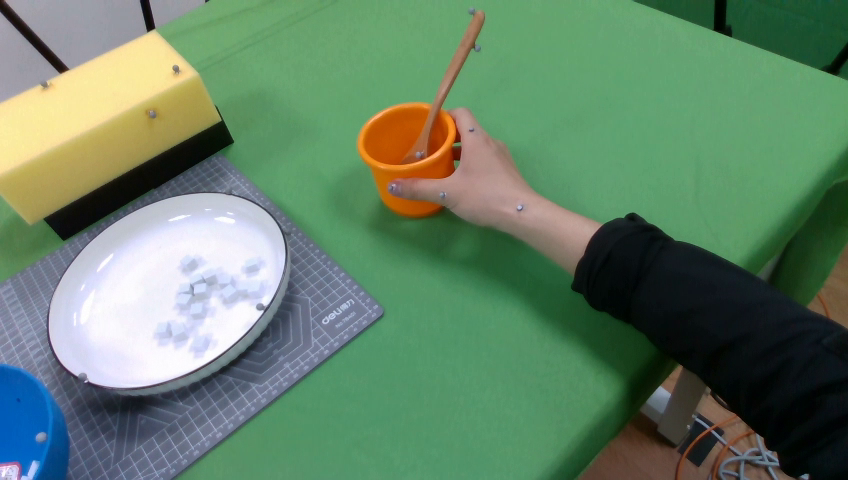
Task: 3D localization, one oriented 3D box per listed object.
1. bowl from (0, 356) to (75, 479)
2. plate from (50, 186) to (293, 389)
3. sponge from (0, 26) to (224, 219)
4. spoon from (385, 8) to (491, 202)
[{"bbox_3d":[-0.307,0.165,0.421,0.151,0.077,0.150,-4,51,6],"label":"bowl"},{"bbox_3d":[-0.216,0.039,0.535,0.209,0.038,0.207,-4,51,5],"label":"plate"},{"bbox_3d":[-0.325,-0.124,0.608,0.207,0.061,0.117,-35,55,-19],"label":"sponge"},{"bbox_3d":[0.014,-0.122,0.561,0.041,0.194,0.022,36,20,27],"label":"spoon"}]
